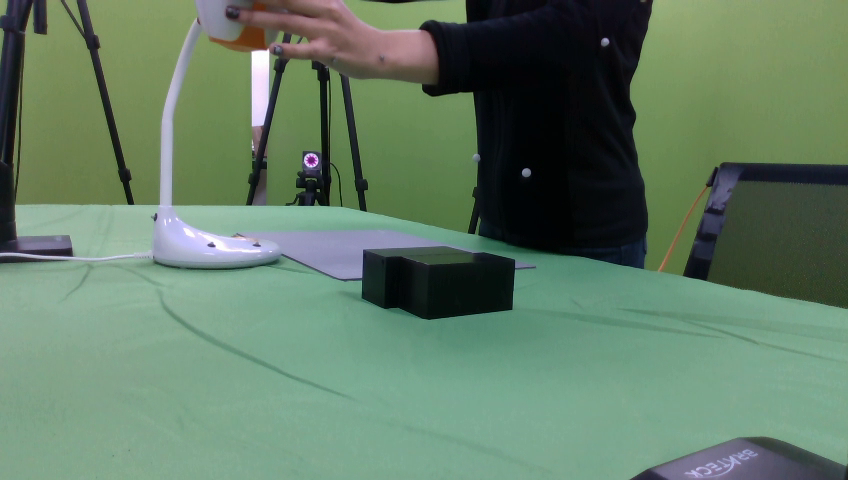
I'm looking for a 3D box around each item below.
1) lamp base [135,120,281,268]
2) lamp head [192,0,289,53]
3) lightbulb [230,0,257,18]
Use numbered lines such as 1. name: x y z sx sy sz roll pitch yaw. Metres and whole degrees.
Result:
1. lamp base: -0.276 -0.061 0.773 0.180 0.180 0.160 -9 13 -44
2. lamp head: -0.188 -0.254 0.609 0.112 0.123 0.112 10 20 -3
3. lightbulb: -0.176 -0.279 0.607 0.059 0.107 0.059 13 16 -3
